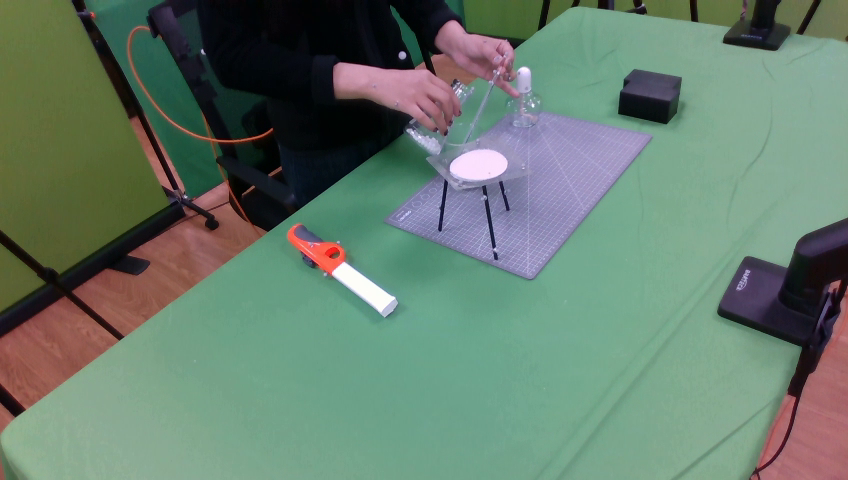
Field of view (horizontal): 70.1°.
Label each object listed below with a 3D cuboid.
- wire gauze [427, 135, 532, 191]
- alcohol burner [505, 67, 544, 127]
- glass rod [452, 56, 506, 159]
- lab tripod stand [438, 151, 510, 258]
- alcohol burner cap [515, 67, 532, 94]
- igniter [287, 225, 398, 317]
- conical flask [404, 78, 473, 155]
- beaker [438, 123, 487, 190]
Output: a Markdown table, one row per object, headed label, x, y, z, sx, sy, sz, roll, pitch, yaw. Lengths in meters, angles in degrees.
| label | x | y | z | sx | sy | sz | roll | pitch | yaw |
| --- | --- | --- | --- | --- | --- | --- | --- | --- | --- |
| wire gauze | 0.081 | -0.115 | 0.909 | 0.125 | 0.011 | 0.120 | -18 | 39 | -11 |
| alcohol burner | 0.201 | -0.288 | 1.211 | 0.078 | 0.119 | 0.077 | -6 | 38 | 5 |
| glass rod | 0.092 | -0.221 | 1.032 | 0.008 | 0.199 | 0.008 | 25 | 16 | -7 |
| lab tripod stand | 0.087 | -0.064 | 0.952 | 0.148 | 0.132 | 0.147 | -6 | 38 | 5 |
| alcohol burner cap | 0.197 | -0.315 | 1.187 | 0.034 | 0.048 | 0.033 | -3 | 46 | 3 |
| igniter | -0.139 | 0.041 | 0.958 | 0.057 | 0.025 | 0.274 | -42 | 49 | -19 |
| conical flask | 0.028 | -0.207 | 0.994 | 0.122 | 0.076 | 0.074 | -51 | 45 | 8 |
| beaker | 0.072 | -0.147 | 1.080 | 0.084 | 0.101 | 0.073 | -5 | 40 | 7 |
